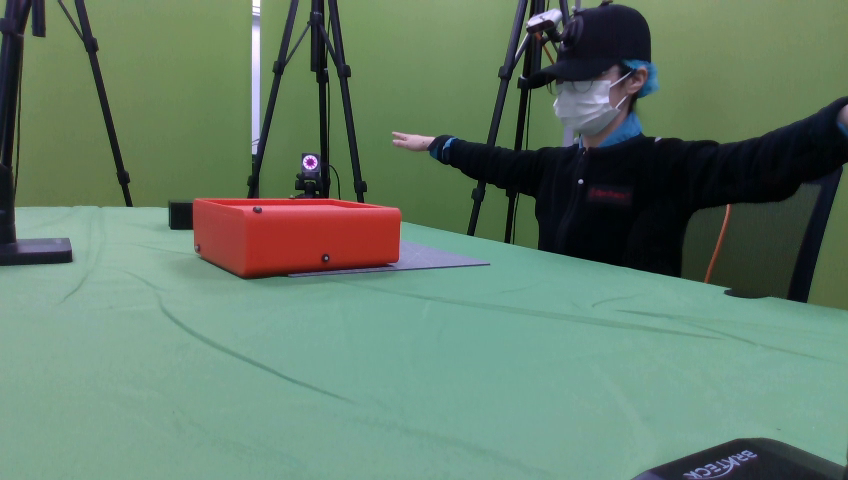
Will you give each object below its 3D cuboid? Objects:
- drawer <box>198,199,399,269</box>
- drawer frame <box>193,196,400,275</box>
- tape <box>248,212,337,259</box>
[{"bbox_3d":[-0.171,-0.014,0.818,0.213,0.073,0.193,-4,10,-36],"label":"drawer"},{"bbox_3d":[-0.173,-0.014,0.815,0.215,0.082,0.200,-4,10,-37],"label":"drawer frame"},{"bbox_3d":[-0.176,-0.008,0.814,0.117,0.052,0.117,3,6,0],"label":"tape"}]
